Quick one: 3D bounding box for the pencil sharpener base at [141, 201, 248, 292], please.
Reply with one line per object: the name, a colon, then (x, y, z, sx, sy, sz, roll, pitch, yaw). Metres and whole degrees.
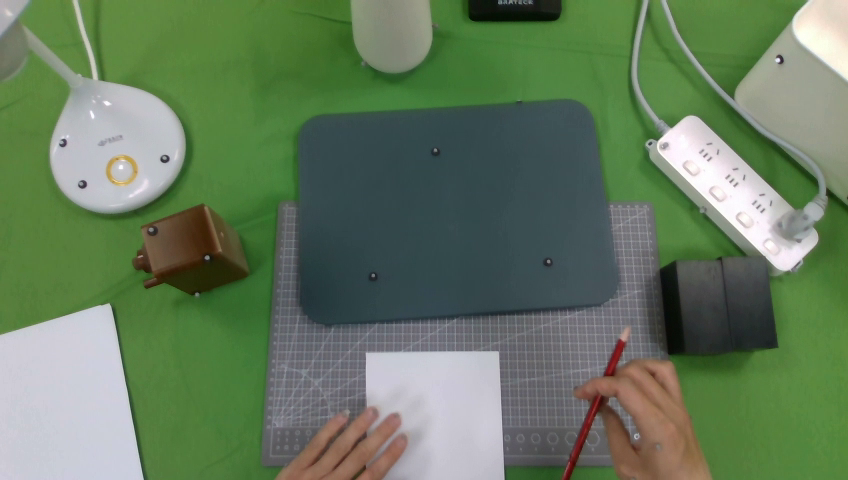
pencil sharpener base: (-0.248, 0.011, 0.659, 0.077, 0.107, 0.061, -20, 76, -5)

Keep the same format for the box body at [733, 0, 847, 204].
box body: (0.578, -0.154, 0.680, 0.254, 0.161, 0.362, -43, 80, -10)

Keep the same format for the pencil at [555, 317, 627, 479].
pencil: (0.139, 0.155, 0.523, 0.012, 0.012, 0.194, 21, 97, 5)

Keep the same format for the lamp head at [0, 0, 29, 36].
lamp head: (-0.333, -0.174, 0.384, 0.112, 0.124, 0.111, -25, 41, 25)

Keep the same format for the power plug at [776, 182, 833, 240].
power plug: (0.435, -0.027, 0.689, 0.072, 0.053, 0.035, -28, 75, -12)

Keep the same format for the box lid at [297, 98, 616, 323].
box lid: (0.035, -0.041, 0.724, 0.372, 0.015, 0.261, -4, 75, -1)

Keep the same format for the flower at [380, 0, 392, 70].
flower: (-0.028, -0.313, 0.612, 0.044, 0.364, 0.038, -24, 64, -23)

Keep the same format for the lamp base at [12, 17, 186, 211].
lamp base: (-0.375, -0.142, 0.659, 0.160, 0.181, 0.178, -30, 75, -8)

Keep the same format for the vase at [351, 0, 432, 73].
vase: (-0.038, -0.277, 0.689, 0.098, 0.201, 0.097, 0, 74, -1)

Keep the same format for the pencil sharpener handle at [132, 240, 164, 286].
pencil sharpener handle: (-0.295, 0.029, 0.641, 0.030, 0.068, 0.035, -20, 63, -5)

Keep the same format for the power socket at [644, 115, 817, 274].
power socket: (0.363, -0.056, 0.720, 0.072, 0.033, 0.225, -39, 79, -10)
